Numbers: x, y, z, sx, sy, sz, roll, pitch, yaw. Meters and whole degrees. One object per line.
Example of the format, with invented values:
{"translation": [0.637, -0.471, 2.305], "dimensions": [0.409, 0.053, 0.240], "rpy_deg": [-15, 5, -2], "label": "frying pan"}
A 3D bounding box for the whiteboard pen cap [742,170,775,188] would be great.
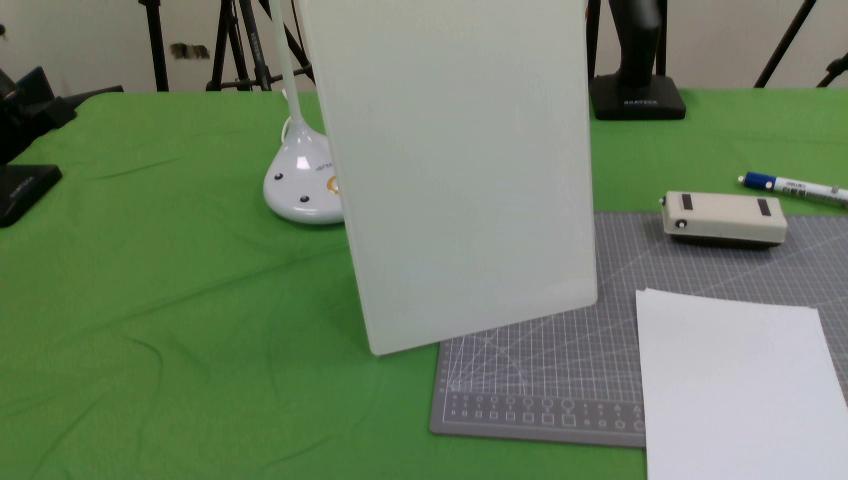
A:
{"translation": [0.385, -0.069, 0.696], "dimensions": [0.033, 0.018, 0.018], "rpy_deg": [17, 44, 28], "label": "whiteboard pen cap"}

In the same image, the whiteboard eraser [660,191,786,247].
{"translation": [0.304, -0.021, 0.622], "dimensions": [0.112, 0.042, 0.055], "rpy_deg": [6, 41, 12], "label": "whiteboard eraser"}

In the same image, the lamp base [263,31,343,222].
{"translation": [-0.129, -0.138, 0.698], "dimensions": [0.160, 0.182, 0.177], "rpy_deg": [-31, 44, -29], "label": "lamp base"}

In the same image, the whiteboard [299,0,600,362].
{"translation": [0.024, -0.077, 0.557], "dimensions": [0.217, 0.307, 0.142], "rpy_deg": [-12, 20, -8], "label": "whiteboard"}

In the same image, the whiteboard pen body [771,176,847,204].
{"translation": [0.436, -0.054, 0.670], "dimensions": [0.140, 0.017, 0.017], "rpy_deg": [17, 44, 27], "label": "whiteboard pen body"}
